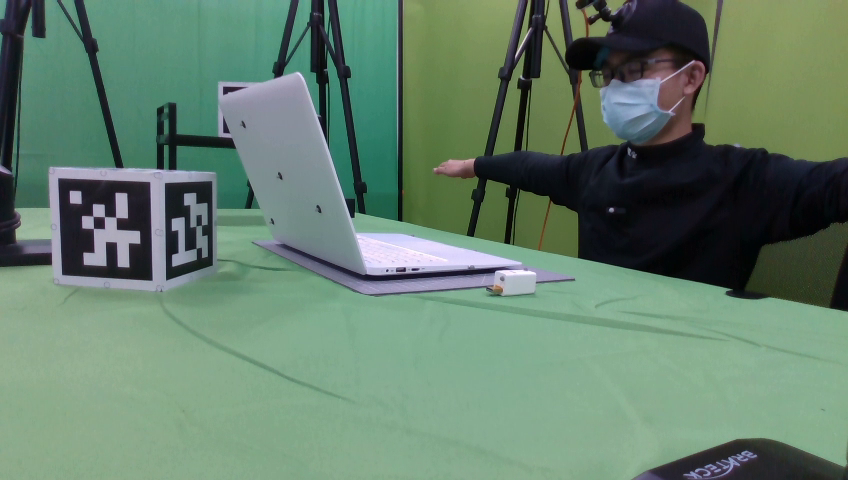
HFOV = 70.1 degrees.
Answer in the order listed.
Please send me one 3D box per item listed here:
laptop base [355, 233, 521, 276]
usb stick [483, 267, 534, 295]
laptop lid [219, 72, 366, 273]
[{"bbox_3d":[-0.056,0.017,0.898,0.237,0.023,0.352,2,6,-32],"label":"laptop base"},{"bbox_3d":[0.093,0.046,0.673,0.059,0.027,0.021,-5,14,-30],"label":"usb stick"},{"bbox_3d":[-0.189,-0.087,0.800,0.013,0.242,0.355,-26,21,-26],"label":"laptop lid"}]
